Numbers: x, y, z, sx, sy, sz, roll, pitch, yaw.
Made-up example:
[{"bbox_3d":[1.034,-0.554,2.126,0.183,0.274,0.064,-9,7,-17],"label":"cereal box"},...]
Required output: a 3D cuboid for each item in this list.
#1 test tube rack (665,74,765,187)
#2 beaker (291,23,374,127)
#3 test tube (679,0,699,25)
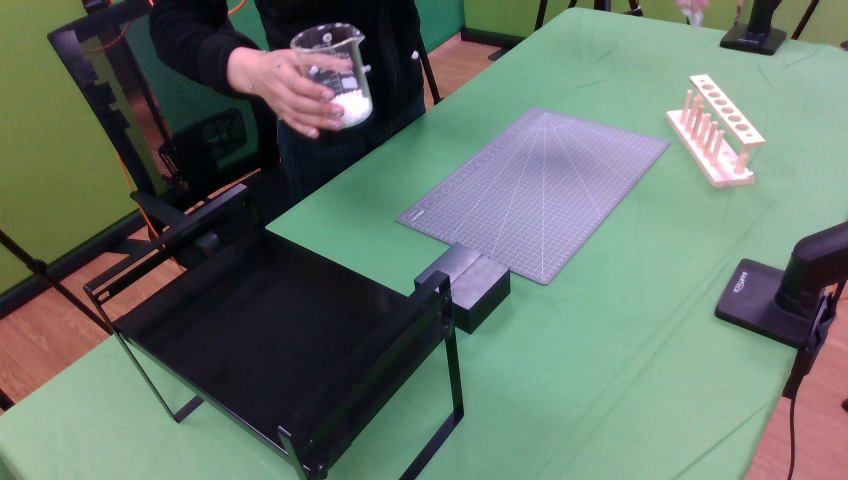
[{"bbox_3d":[0.512,-0.201,1.082,0.067,0.085,0.241,-6,41,2],"label":"test tube rack"},{"bbox_3d":[-0.099,-0.190,0.703,0.084,0.101,0.073,-6,40,7],"label":"beaker"},{"bbox_3d":[0.408,-0.367,0.939,0.017,0.017,0.150,3,39,12],"label":"test tube"}]
